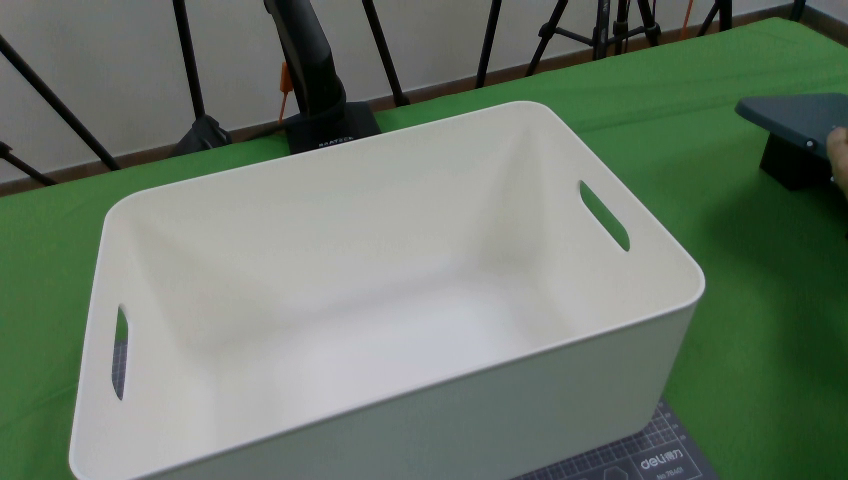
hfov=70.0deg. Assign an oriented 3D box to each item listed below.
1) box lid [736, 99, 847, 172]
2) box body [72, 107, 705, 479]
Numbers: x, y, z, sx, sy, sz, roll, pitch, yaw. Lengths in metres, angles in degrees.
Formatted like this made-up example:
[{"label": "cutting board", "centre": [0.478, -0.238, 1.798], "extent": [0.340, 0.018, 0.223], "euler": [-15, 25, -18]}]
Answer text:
[{"label": "box lid", "centre": [0.491, -0.046, 0.538], "extent": [0.264, 0.015, 0.367], "euler": [-10, 40, -35]}, {"label": "box body", "centre": [-0.027, 0.061, 0.459], "extent": [0.364, 0.162, 0.251], "euler": [-15, 42, -9]}]
